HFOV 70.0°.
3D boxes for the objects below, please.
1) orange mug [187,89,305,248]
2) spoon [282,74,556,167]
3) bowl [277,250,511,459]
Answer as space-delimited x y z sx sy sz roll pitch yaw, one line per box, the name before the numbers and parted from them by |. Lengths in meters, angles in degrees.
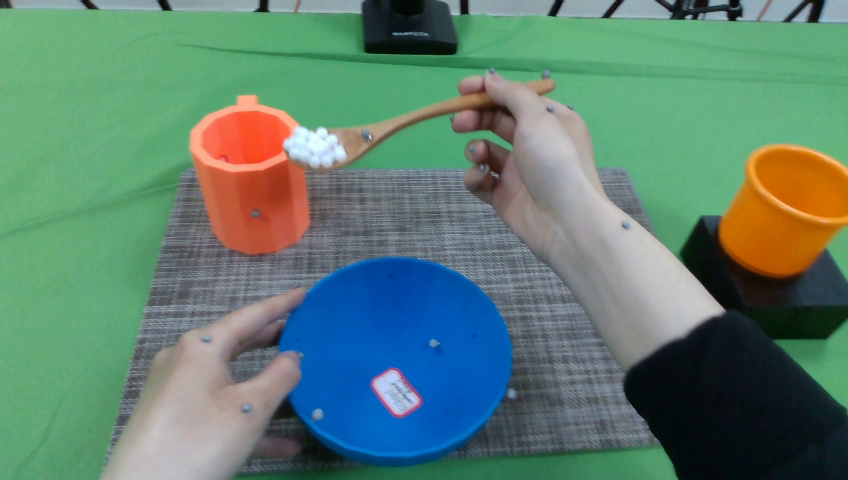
orange mug | -0.152 -0.070 0.529 0.084 0.101 0.125 -7 55 -12
spoon | -0.001 -0.085 0.414 0.194 0.022 0.041 -18 44 -1
bowl | -0.021 0.088 0.418 0.151 0.077 0.150 4 48 -4
